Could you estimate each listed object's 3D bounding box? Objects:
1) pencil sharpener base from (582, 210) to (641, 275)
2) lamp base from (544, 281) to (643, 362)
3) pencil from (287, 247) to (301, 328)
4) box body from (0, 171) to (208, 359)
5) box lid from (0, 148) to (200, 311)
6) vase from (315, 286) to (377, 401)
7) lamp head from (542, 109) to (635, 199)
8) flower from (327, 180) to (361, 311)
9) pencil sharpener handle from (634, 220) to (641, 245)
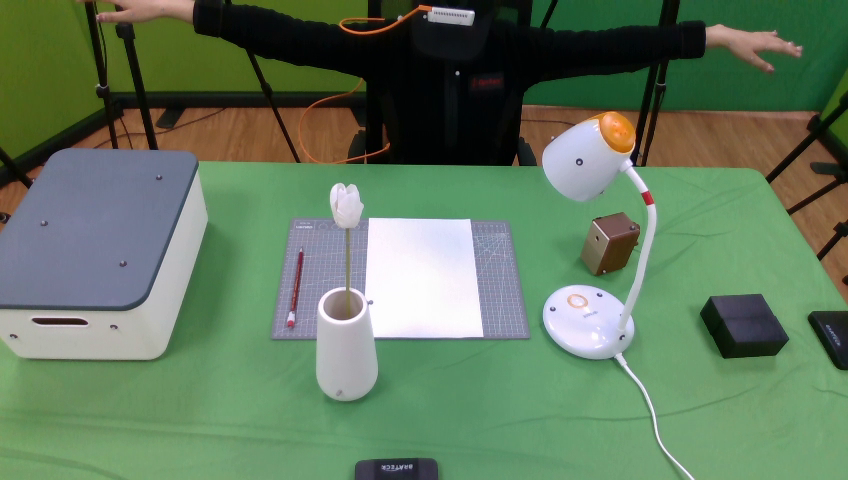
[{"bbox_3d":[0.357,0.005,1.155,0.077,0.107,0.061,-15,48,-18],"label":"pencil sharpener base"},{"bbox_3d":[0.303,0.095,1.014,0.161,0.181,0.178,-24,54,-24],"label":"lamp base"},{"bbox_3d":[-0.236,0.081,1.107,0.012,0.012,0.193,0,45,-4],"label":"pencil"},{"bbox_3d":[-0.541,0.021,1.042,0.254,0.161,0.361,1,46,-3],"label":"box body"},{"bbox_3d":[-0.536,-0.034,0.989,0.263,0.015,0.369,1,45,-3],"label":"box lid"},{"bbox_3d":[-0.119,0.159,0.911,0.098,0.201,0.097,2,47,-2],"label":"vase"},{"bbox_3d":[0.253,-0.131,0.893,0.113,0.123,0.112,10,66,-24],"label":"lamp head"},{"bbox_3d":[-0.110,0.086,0.867,0.044,0.363,0.038,22,33,36],"label":"flower"},{"bbox_3d":[0.405,-0.015,1.161,0.031,0.068,0.035,-15,44,-18],"label":"pencil sharpener handle"}]
